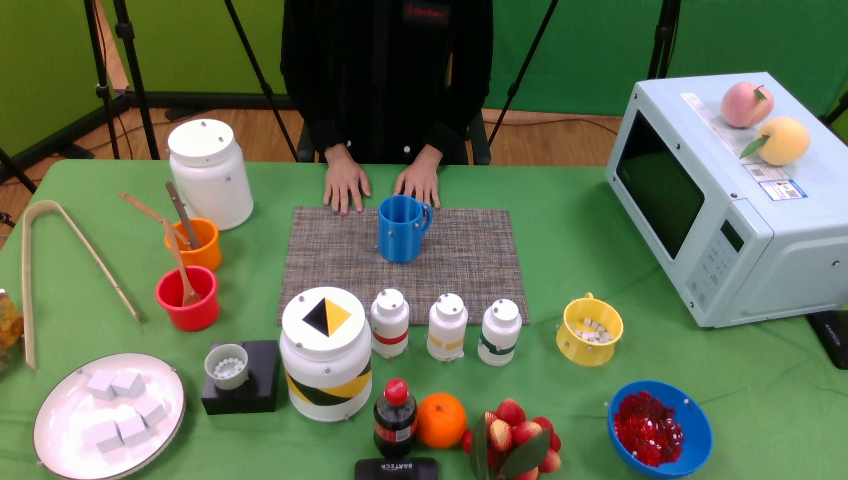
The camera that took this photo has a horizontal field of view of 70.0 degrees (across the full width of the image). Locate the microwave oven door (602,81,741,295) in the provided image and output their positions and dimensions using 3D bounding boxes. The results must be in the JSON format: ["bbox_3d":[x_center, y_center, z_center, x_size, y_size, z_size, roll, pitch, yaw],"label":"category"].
[{"bbox_3d":[0.456,-0.107,1.162,0.039,0.245,0.353,-6,47,-11],"label":"microwave oven door"}]

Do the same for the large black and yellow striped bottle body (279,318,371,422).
[{"bbox_3d":[-0.145,0.173,0.907,0.131,0.185,0.130,2,46,-2],"label":"large black and yellow striped bottle body"}]

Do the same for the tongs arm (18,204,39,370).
[{"bbox_3d":[-0.698,0.069,1.069,0.028,0.028,0.385,-20,50,-13],"label":"tongs arm"}]

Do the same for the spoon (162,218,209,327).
[{"bbox_3d":[-0.410,0.054,1.029,0.041,0.021,0.194,-17,94,-16],"label":"spoon"}]

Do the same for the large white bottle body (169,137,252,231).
[{"bbox_3d":[-0.412,-0.122,1.170,0.131,0.185,0.130,2,46,-2],"label":"large white bottle body"}]

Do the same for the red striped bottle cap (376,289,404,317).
[{"bbox_3d":[-0.055,0.098,0.958,0.044,0.018,0.044,0,48,0],"label":"red striped bottle cap"}]

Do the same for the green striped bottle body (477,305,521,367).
[{"bbox_3d":[0.124,0.151,0.995,0.063,0.120,0.063,2,46,-2],"label":"green striped bottle body"}]

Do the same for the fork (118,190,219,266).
[{"bbox_3d":[-0.459,-0.020,1.092,0.208,0.018,0.028,44,44,-24],"label":"fork"}]

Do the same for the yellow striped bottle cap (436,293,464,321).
[{"bbox_3d":[0.041,0.106,0.959,0.044,0.019,0.044,0,50,1],"label":"yellow striped bottle cap"}]

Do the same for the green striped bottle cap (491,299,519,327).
[{"bbox_3d":[0.128,0.115,0.958,0.044,0.020,0.044,1,45,0],"label":"green striped bottle cap"}]

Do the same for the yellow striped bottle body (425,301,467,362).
[{"bbox_3d":[0.037,0.142,0.996,0.063,0.121,0.062,3,47,-2],"label":"yellow striped bottle body"}]

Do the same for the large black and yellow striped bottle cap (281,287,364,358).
[{"bbox_3d":[-0.141,0.112,0.847,0.115,0.019,0.114,5,45,-4],"label":"large black and yellow striped bottle cap"}]

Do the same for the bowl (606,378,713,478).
[{"bbox_3d":[0.340,0.292,0.906,0.151,0.077,0.150,2,46,-2],"label":"bowl"}]

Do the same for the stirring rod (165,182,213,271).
[{"bbox_3d":[-0.430,-0.025,1.107,0.014,0.006,0.176,-26,95,-20],"label":"stirring rod"}]

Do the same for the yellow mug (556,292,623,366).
[{"bbox_3d":[0.285,0.145,1.051,0.100,0.064,0.130,7,45,3],"label":"yellow mug"}]

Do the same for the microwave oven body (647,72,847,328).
[{"bbox_3d":[0.607,-0.089,1.164,0.326,0.261,0.438,-7,46,-10],"label":"microwave oven body"}]

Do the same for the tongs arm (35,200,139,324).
[{"bbox_3d":[-0.622,0.034,1.105,0.051,0.026,0.382,-32,55,-26],"label":"tongs arm"}]

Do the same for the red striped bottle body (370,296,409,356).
[{"bbox_3d":[-0.058,0.134,0.997,0.063,0.120,0.062,4,47,-4],"label":"red striped bottle body"}]

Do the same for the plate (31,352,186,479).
[{"bbox_3d":[-0.459,0.262,0.898,0.209,0.038,0.208,2,46,-2],"label":"plate"}]

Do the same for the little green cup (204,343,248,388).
[{"bbox_3d":[-0.294,0.190,0.909,0.061,0.039,0.061,1,48,-1],"label":"little green cup"}]

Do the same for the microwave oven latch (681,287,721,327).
[{"bbox_3d":[0.494,0.119,1.087,0.030,0.029,0.078,-6,46,-9],"label":"microwave oven latch"}]

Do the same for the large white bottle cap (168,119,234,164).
[{"bbox_3d":[-0.407,-0.181,1.108,0.115,0.018,0.114,2,47,-2],"label":"large white bottle cap"}]

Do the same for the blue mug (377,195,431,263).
[{"bbox_3d":[-0.035,-0.027,1.159,0.116,0.106,0.082,-24,53,-25],"label":"blue mug"}]
